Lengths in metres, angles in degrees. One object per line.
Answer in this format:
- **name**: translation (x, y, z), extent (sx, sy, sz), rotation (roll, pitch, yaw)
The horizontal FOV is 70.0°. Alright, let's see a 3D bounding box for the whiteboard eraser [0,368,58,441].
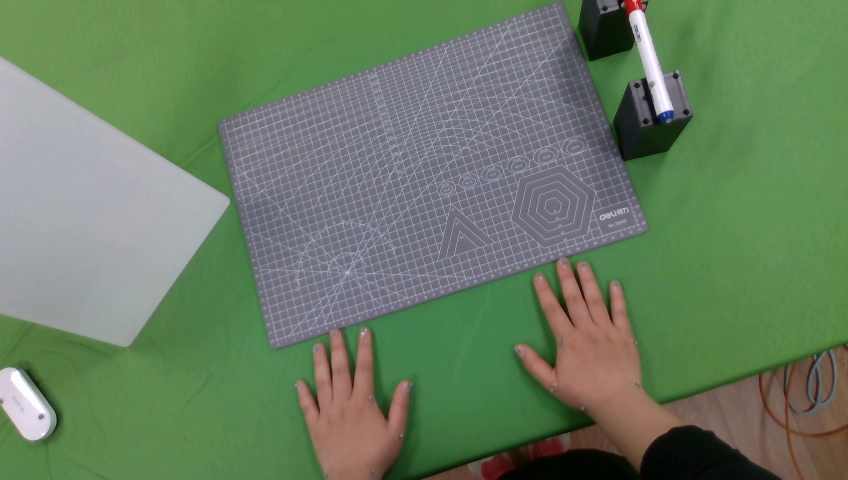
- **whiteboard eraser**: translation (-0.480, 0.195, 0.722), extent (0.041, 0.019, 0.101), rotation (-45, 77, -3)

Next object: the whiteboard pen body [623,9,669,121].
- **whiteboard pen body**: translation (0.216, -0.183, 0.598), extent (0.017, 0.017, 0.140), rotation (-13, 77, 6)

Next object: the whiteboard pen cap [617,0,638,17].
- **whiteboard pen cap**: translation (0.204, -0.242, 0.610), extent (0.017, 0.017, 0.032), rotation (-11, 79, 6)

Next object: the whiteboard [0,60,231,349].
- **whiteboard**: translation (-0.407, -0.042, 0.645), extent (0.142, 0.308, 0.217), rotation (31, 85, 33)
